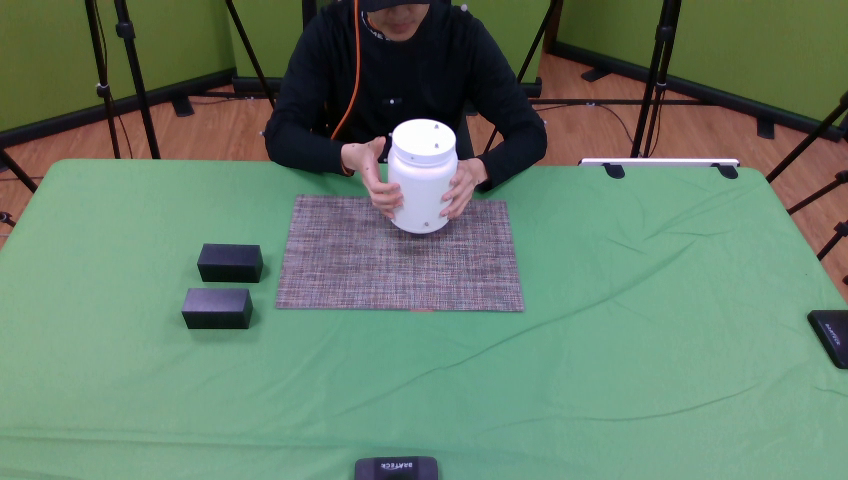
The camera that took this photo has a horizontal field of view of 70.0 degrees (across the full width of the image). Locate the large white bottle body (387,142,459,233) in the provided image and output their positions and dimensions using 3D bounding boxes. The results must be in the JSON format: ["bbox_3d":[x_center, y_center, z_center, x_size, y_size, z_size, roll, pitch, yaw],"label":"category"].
[{"bbox_3d":[-0.003,-0.120,1.151,0.131,0.185,0.130,3,45,-3],"label":"large white bottle body"}]

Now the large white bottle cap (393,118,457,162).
[{"bbox_3d":[0.002,-0.180,1.089,0.115,0.018,0.114,3,45,-3],"label":"large white bottle cap"}]
